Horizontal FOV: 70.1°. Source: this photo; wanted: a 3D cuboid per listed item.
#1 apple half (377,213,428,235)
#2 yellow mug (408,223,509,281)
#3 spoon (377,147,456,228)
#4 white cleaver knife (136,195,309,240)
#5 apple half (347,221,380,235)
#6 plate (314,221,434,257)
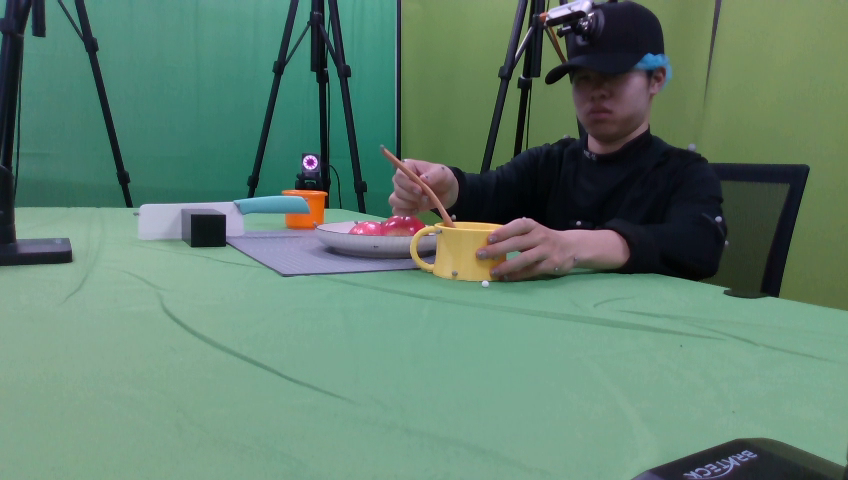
[{"bbox_3d":[-0.034,-0.014,0.924,0.080,0.053,0.075,5,9,16],"label":"apple half"},{"bbox_3d":[0.044,0.013,0.784,0.131,0.064,0.100,2,6,4],"label":"yellow mug"},{"bbox_3d":[0.006,-0.059,0.808,0.193,0.021,0.042,49,5,9],"label":"spoon"},{"bbox_3d":[-0.337,-0.039,1.037,0.288,0.066,0.021,-6,15,-29],"label":"white cleaver knife"},{"bbox_3d":[-0.089,-0.015,0.985,0.081,0.033,0.081,4,5,0],"label":"apple half"},{"bbox_3d":[-0.067,-0.002,0.948,0.209,0.038,0.209,3,7,0],"label":"plate"}]
